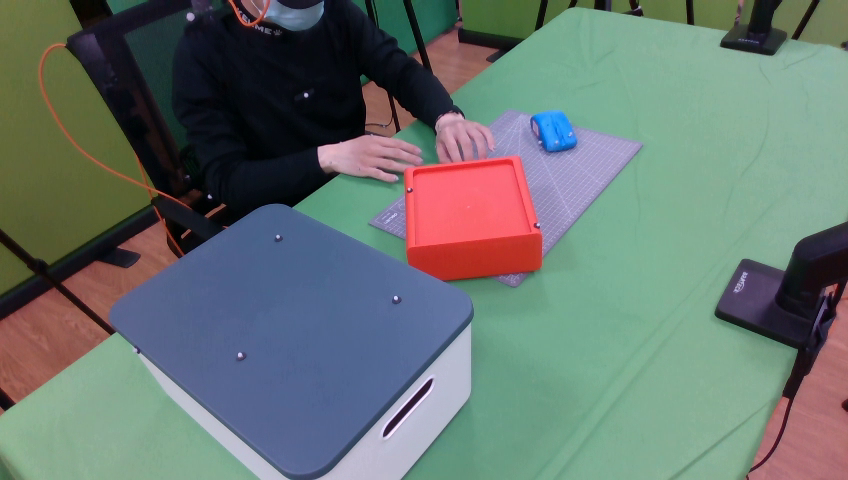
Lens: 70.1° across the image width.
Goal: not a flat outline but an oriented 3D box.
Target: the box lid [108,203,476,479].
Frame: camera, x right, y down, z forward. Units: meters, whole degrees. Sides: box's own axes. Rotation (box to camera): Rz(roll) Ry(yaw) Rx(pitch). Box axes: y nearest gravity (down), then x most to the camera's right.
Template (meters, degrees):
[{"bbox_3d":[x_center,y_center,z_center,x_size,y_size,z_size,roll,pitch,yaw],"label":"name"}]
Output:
[{"bbox_3d":[-0.156,0.079,0.678,0.368,0.015,0.264,24,49,32],"label":"box lid"}]

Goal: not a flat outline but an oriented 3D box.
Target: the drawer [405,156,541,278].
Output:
[{"bbox_3d":[0.071,-0.040,0.961,0.194,0.073,0.210,-5,41,1],"label":"drawer"}]

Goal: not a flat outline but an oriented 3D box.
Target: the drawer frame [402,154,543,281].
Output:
[{"bbox_3d":[0.071,-0.040,0.958,0.202,0.083,0.212,-6,41,1],"label":"drawer frame"}]

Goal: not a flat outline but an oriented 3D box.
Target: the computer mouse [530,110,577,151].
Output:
[{"bbox_3d":[0.250,-0.216,1.173,0.063,0.041,0.116,-10,45,-6],"label":"computer mouse"}]

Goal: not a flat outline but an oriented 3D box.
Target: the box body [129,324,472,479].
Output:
[{"bbox_3d":[-0.147,0.136,0.726,0.361,0.161,0.255,24,50,32],"label":"box body"}]
